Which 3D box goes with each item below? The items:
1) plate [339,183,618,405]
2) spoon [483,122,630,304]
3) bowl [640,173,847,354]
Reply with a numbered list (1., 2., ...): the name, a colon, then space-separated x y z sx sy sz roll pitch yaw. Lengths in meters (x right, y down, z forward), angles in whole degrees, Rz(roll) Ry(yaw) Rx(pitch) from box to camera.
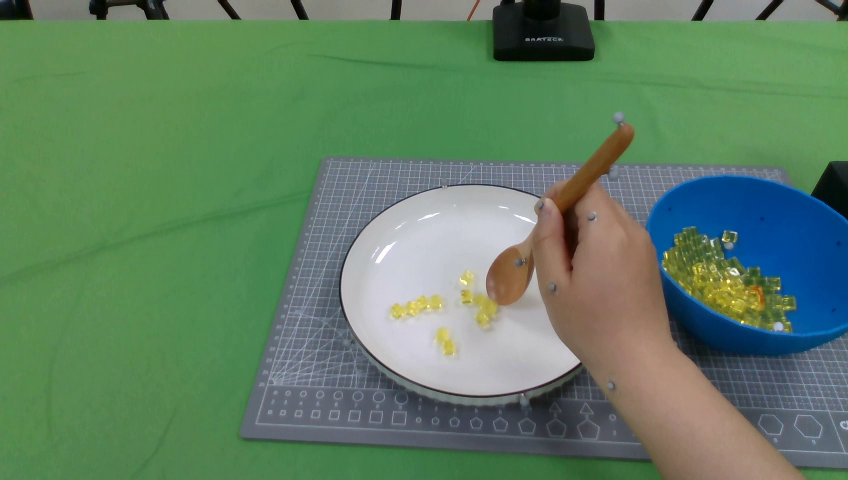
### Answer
1. plate: 0.040 0.037 0.469 0.208 0.039 0.205 -1 47 1
2. spoon: 0.077 -0.009 0.390 0.022 0.195 0.041 -4 62 -16
3. bowl: 0.228 0.029 0.443 0.151 0.077 0.150 -1 47 1
